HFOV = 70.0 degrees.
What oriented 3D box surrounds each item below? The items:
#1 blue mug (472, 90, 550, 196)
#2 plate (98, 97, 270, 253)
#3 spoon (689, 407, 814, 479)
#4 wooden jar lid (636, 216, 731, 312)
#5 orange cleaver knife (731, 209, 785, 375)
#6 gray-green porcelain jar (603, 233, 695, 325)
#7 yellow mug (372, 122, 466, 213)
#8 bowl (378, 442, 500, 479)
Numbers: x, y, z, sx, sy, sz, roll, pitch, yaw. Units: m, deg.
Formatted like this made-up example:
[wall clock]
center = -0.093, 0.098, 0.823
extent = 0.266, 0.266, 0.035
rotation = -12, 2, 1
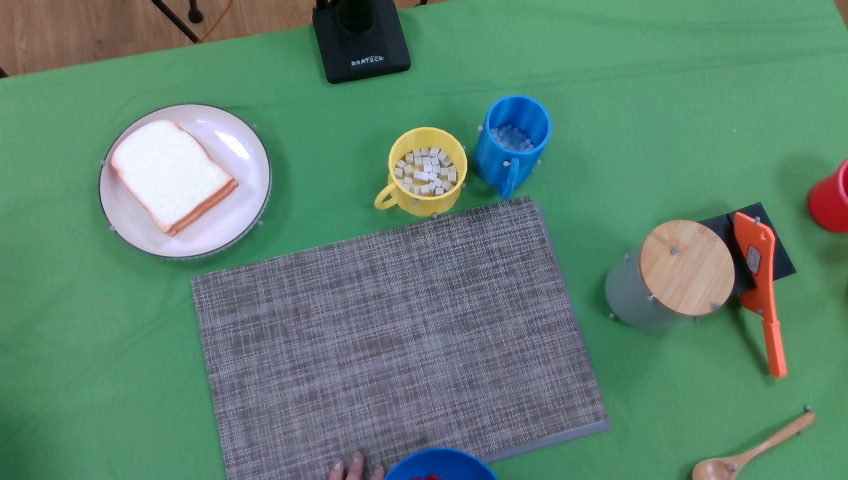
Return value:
[blue mug]
center = 0.108, -0.114, 0.774
extent = 0.082, 0.106, 0.116
rotation = 6, 74, -2
[plate]
center = -0.299, -0.081, 0.768
extent = 0.208, 0.039, 0.206
rotation = 1, 74, -4
[spoon]
center = 0.402, 0.250, 0.736
extent = 0.194, 0.022, 0.041
rotation = -24, 59, -10
[wooden jar lid]
center = 0.285, 0.027, 0.671
extent = 0.108, 0.021, 0.108
rotation = 2, 76, -7
[orange cleaver knife]
center = 0.416, 0.064, 0.758
extent = 0.012, 0.077, 0.212
rotation = -15, 102, -8
[gray-green porcelain jar]
center = 0.282, 0.045, 0.731
extent = 0.106, 0.127, 0.105
rotation = 1, 74, -4
[yellow mug]
center = -0.011, -0.083, 0.776
extent = 0.131, 0.064, 0.099
rotation = -35, 78, -12
[bowl]
center = 0.015, 0.299, 0.662
extent = 0.151, 0.077, 0.150
rotation = 1, 73, -2
